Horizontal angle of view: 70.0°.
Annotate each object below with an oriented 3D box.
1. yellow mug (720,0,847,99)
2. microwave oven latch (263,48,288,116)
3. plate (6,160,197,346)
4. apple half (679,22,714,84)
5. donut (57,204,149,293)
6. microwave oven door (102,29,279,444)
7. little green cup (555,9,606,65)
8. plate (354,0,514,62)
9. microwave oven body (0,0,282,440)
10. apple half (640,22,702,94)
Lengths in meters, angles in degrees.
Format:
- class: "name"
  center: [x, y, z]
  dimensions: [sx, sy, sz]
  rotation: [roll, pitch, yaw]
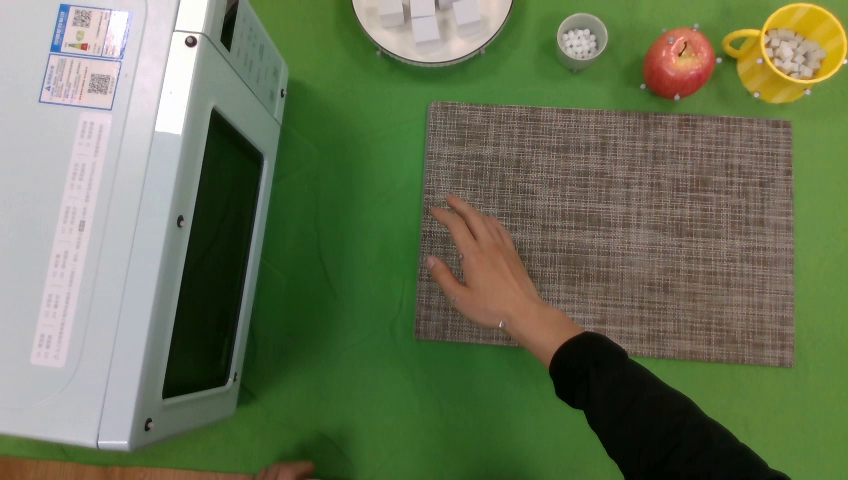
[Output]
- class: "yellow mug"
  center: [0.426, -0.234, 0.732]
  dimensions: [0.131, 0.064, 0.099]
  rotation: [15, 83, 5]
- class: "microwave oven latch"
  center: [-0.188, -0.195, 0.746]
  dimensions: [0.030, 0.029, 0.079]
  rotation: [8, 84, 3]
- class: "plate"
  center: [-0.355, 0.014, 0.681]
  dimensions: [0.209, 0.038, 0.208]
  rotation: [0, 83, 2]
- class: "apple half"
  center: [0.327, -0.228, 0.731]
  dimensions: [0.033, 0.081, 0.081]
  rotation: [-23, 82, 4]
- class: "donut"
  center: [-0.353, 0.009, 0.668]
  dimensions: [0.099, 0.048, 0.099]
  rotation: [0, 85, 3]
- class: "microwave oven door"
  center: [-0.222, 0.006, 0.619]
  dimensions: [0.039, 0.244, 0.354]
  rotation: [6, 83, 4]
- class: "little green cup"
  center: [0.193, -0.251, 0.757]
  dimensions: [0.061, 0.039, 0.061]
  rotation: [0, 82, 3]
- class: "plate"
  center: [0.013, -0.323, 0.773]
  dimensions: [0.207, 0.039, 0.207]
  rotation: [0, 83, 2]
- class: "microwave oven body"
  center: [-0.361, -0.052, 0.637]
  dimensions: [0.326, 0.261, 0.440]
  rotation: [7, 84, 3]
- class: "apple half"
  center: [0.291, -0.212, 0.732]
  dimensions: [0.053, 0.075, 0.080]
  rotation: [-23, 86, 4]
